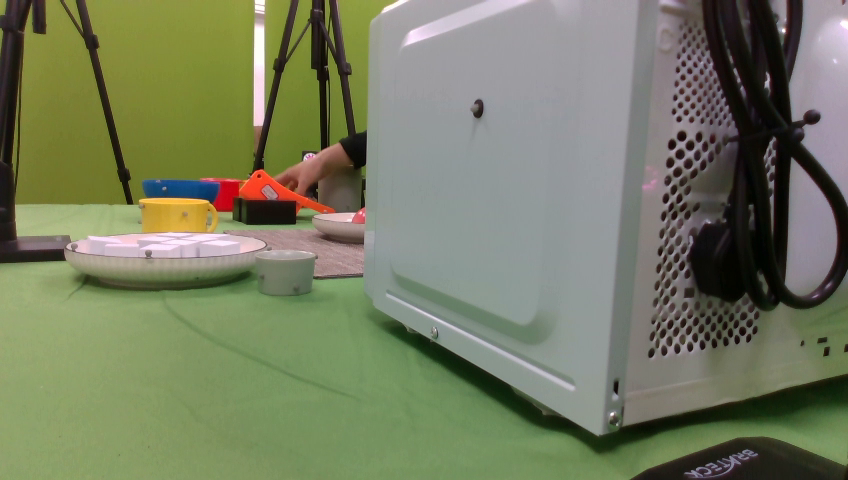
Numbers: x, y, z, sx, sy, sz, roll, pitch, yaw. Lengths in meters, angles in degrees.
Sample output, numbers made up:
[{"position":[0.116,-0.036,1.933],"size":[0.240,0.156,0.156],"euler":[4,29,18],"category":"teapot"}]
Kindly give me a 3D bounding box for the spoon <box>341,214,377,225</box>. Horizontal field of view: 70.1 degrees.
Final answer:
[{"position":[-0.132,-0.048,1.305],"size":[0.041,0.021,0.194],"euler":[-13,4,14],"category":"spoon"}]

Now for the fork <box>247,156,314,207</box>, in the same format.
[{"position":[-0.360,-0.147,1.523],"size":[0.207,0.019,0.028],"euler":[-43,16,-7],"category":"fork"}]

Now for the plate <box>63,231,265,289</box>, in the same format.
[{"position":[-0.288,0.021,0.687],"size":[0.208,0.039,0.207],"euler":[2,8,0],"category":"plate"}]

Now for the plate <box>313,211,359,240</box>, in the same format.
[{"position":[-0.091,-0.026,1.063],"size":[0.209,0.038,0.209],"euler":[2,7,0],"category":"plate"}]

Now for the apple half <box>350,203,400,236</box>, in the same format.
[{"position":[-0.081,-0.036,1.024],"size":[0.081,0.053,0.074],"euler":[-2,11,-34],"category":"apple half"}]

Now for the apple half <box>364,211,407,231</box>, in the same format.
[{"position":[-0.068,-0.037,1.103],"size":[0.081,0.033,0.081],"euler":[-1,9,0],"category":"apple half"}]

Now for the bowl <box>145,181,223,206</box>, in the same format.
[{"position":[-0.499,-0.081,1.261],"size":[0.151,0.077,0.151],"euler":[2,8,0],"category":"bowl"}]

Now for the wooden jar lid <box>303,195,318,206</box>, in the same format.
[{"position":[-0.299,-0.092,1.396],"size":[0.108,0.020,0.108],"euler":[4,10,0],"category":"wooden jar lid"}]

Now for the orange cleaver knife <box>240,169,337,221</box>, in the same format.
[{"position":[-0.287,-0.081,1.298],"size":[0.212,0.077,0.012],"euler":[25,-3,-31],"category":"orange cleaver knife"}]

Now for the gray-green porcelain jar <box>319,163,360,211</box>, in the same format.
[{"position":[-0.205,-0.126,1.490],"size":[0.106,0.126,0.106],"euler":[2,7,0],"category":"gray-green porcelain jar"}]

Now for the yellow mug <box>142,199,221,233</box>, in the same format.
[{"position":[-0.372,-0.030,0.948],"size":[0.099,0.064,0.131],"euler":[6,7,30],"category":"yellow mug"}]

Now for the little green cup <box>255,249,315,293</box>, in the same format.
[{"position":[-0.144,0.032,0.627],"size":[0.061,0.038,0.061],"euler":[2,6,0],"category":"little green cup"}]

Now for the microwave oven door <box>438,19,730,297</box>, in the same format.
[{"position":[0.181,-0.076,0.618],"size":[0.358,0.243,0.039],"euler":[-2,8,-28],"category":"microwave oven door"}]

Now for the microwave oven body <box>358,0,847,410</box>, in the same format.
[{"position":[0.210,-0.051,0.471],"size":[0.444,0.260,0.324],"euler":[-1,7,-28],"category":"microwave oven body"}]

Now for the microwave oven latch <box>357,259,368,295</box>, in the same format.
[{"position":[-0.019,0.031,0.529],"size":[0.079,0.029,0.030],"euler":[-1,7,-26],"category":"microwave oven latch"}]
